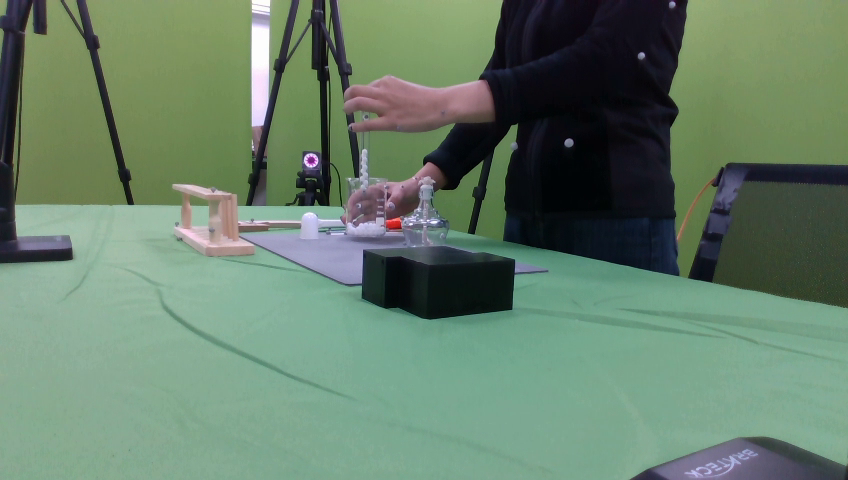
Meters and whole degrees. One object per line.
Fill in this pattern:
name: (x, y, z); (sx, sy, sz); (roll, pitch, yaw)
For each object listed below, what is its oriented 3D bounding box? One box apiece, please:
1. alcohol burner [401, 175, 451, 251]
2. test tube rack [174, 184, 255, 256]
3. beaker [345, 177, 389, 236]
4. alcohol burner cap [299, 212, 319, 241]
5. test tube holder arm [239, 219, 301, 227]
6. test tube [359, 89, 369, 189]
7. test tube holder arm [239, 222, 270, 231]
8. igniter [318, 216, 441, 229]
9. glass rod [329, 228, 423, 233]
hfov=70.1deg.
alcohol burner: (0.003, -0.042, 0.947); (0.078, 0.119, 0.078); (1, 9, 0)
test tube rack: (-0.327, -0.036, 0.928); (0.067, 0.085, 0.241); (-2, 9, -32)
beaker: (-0.099, -0.057, 1.030); (0.073, 0.100, 0.084); (3, 6, 28)
alcohol burner cap: (-0.195, -0.024, 1.025); (0.034, 0.048, 0.034); (3, 7, 0)
test tube holder arm: (-0.296, -0.030, 1.137); (0.179, 0.015, 0.013); (-6, 45, -50)
test tube: (-0.091, -0.152, 0.919); (0.017, 0.150, 0.017); (1, 8, 0)
test tube holder arm: (-0.322, -0.024, 1.100); (0.088, 0.015, 0.010); (-5, 44, -49)
igniter: (-0.090, -0.035, 1.222); (0.278, 0.025, 0.057); (-2, -1, -32)
glass rod: (-0.086, -0.018, 1.148); (0.201, 0.008, 0.008); (-2, 8, -32)
